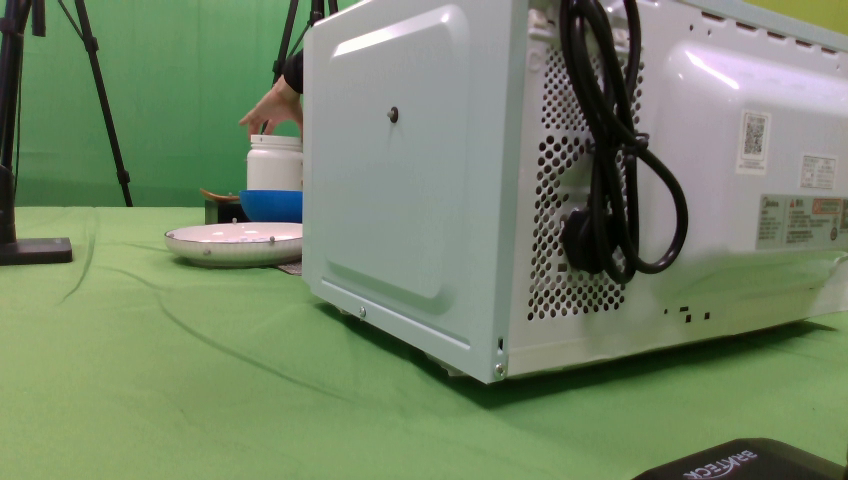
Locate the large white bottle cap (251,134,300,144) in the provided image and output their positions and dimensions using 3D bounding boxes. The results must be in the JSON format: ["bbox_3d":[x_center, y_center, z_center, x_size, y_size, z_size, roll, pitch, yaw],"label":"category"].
[{"bbox_3d":[-0.338,-0.231,1.391,0.115,0.018,0.115,3,9,0],"label":"large white bottle cap"}]

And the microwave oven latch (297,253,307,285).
[{"bbox_3d":[-0.082,0.027,0.582,0.079,0.029,0.030,-1,7,-32],"label":"microwave oven latch"}]

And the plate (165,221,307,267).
[{"bbox_3d":[-0.241,0.004,0.829,0.209,0.038,0.209,0,9,0],"label":"plate"}]

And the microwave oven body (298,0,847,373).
[{"bbox_3d":[0.151,-0.055,0.543,0.444,0.260,0.324,-2,7,-33],"label":"microwave oven body"}]

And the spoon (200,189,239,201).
[{"bbox_3d":[-0.339,-0.080,1.189,0.194,0.021,0.041,5,1,-19],"label":"spoon"}]

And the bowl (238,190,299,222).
[{"bbox_3d":[-0.245,-0.045,1.052,0.151,0.077,0.151,2,7,0],"label":"bowl"}]

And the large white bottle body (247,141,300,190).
[{"bbox_3d":[-0.342,-0.144,1.401,0.131,0.184,0.130,2,7,0],"label":"large white bottle body"}]

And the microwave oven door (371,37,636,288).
[{"bbox_3d":[0.109,-0.080,0.687,0.358,0.243,0.039,-2,9,-33],"label":"microwave oven door"}]
